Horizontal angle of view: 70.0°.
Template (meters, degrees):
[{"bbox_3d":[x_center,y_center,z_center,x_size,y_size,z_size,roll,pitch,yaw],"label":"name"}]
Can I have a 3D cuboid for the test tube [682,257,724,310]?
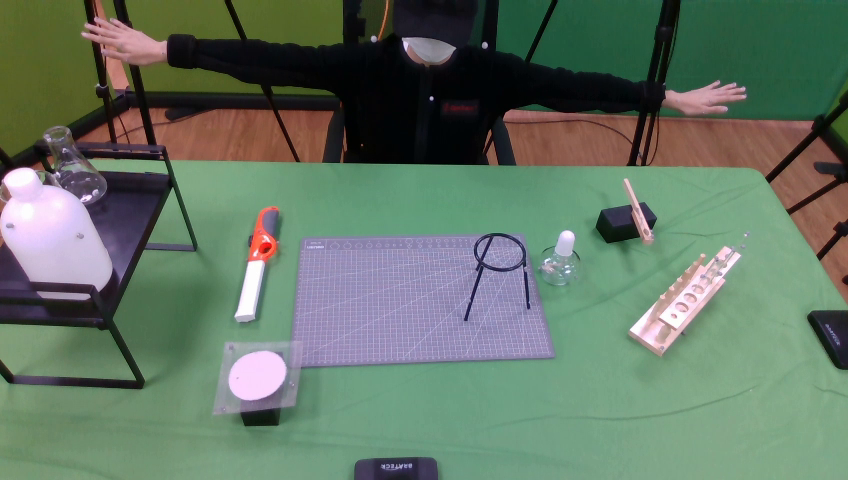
[{"bbox_3d":[0.475,0.080,1.037,0.017,0.151,0.017,2,51,-2],"label":"test tube"}]

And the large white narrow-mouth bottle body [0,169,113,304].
[{"bbox_3d":[-0.492,-0.010,0.801,0.102,0.195,0.101,2,46,-2],"label":"large white narrow-mouth bottle body"}]

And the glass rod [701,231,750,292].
[{"bbox_3d":[0.519,0.045,1.050,0.008,0.201,0.008,0,55,0],"label":"glass rod"}]

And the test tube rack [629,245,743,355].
[{"bbox_3d":[0.474,0.095,1.091,0.242,0.085,0.066,-34,56,-31],"label":"test tube rack"}]

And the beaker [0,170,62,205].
[{"bbox_3d":[-0.562,-0.042,0.894,0.084,0.101,0.073,-2,47,-7],"label":"beaker"}]

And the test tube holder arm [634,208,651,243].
[{"bbox_3d":[0.428,-0.030,1.189,0.010,0.015,0.087,1,47,-2],"label":"test tube holder arm"}]

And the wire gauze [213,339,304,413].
[{"bbox_3d":[-0.250,0.203,0.924,0.121,0.011,0.124,-1,46,-3],"label":"wire gauze"}]

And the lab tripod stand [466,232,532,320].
[{"bbox_3d":[0.125,0.059,1.065,0.148,0.132,0.147,1,45,0],"label":"lab tripod stand"}]

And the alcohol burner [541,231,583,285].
[{"bbox_3d":[0.258,0.028,1.123,0.078,0.120,0.077,1,48,-1],"label":"alcohol burner"}]

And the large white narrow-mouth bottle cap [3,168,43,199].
[{"bbox_3d":[-0.489,-0.069,0.739,0.038,0.024,0.037,2,46,-2],"label":"large white narrow-mouth bottle cap"}]

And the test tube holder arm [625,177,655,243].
[{"bbox_3d":[0.433,-0.063,1.220,0.013,0.015,0.177,1,47,-3],"label":"test tube holder arm"}]

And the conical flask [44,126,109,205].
[{"bbox_3d":[-0.554,-0.119,0.953,0.075,0.122,0.075,2,46,-2],"label":"conical flask"}]

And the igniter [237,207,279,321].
[{"bbox_3d":[-0.309,0.035,1.136,0.057,0.025,0.274,-7,45,5],"label":"igniter"}]

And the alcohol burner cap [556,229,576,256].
[{"bbox_3d":[0.260,0.002,1.098,0.034,0.048,0.033,3,40,-2],"label":"alcohol burner cap"}]
